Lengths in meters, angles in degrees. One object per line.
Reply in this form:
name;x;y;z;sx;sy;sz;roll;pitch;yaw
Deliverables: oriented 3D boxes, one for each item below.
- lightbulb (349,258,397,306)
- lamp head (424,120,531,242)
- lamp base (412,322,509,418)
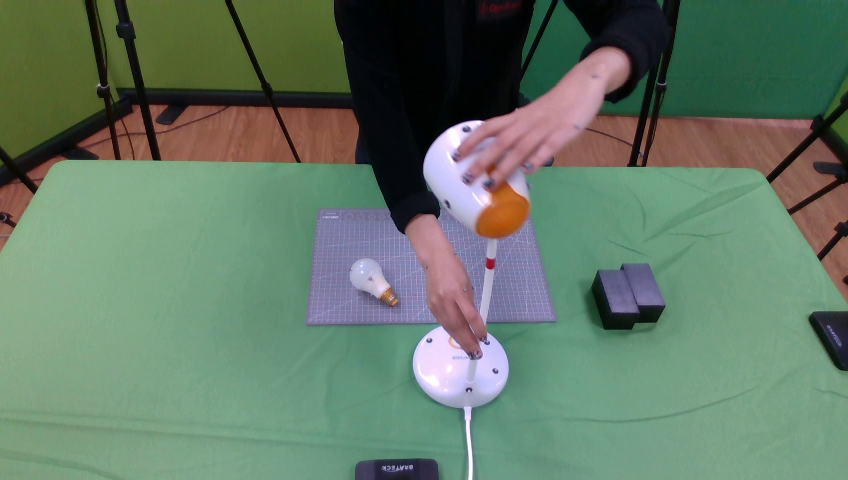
lightbulb;-0.090;0.078;1.094;0.107;0.060;0.059;43;56;12
lamp head;0.069;-0.056;0.696;0.112;0.113;0.122;-13;52;-15
lamp base;0.067;0.161;0.940;0.161;0.181;0.178;-6;50;-10
